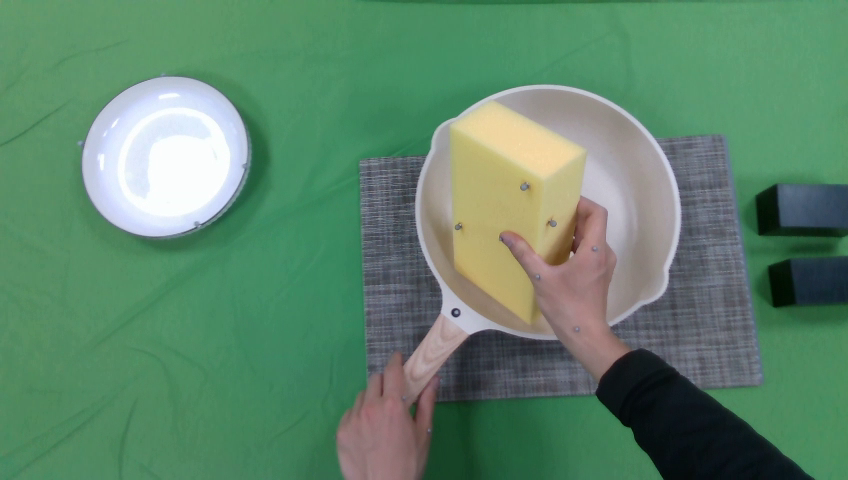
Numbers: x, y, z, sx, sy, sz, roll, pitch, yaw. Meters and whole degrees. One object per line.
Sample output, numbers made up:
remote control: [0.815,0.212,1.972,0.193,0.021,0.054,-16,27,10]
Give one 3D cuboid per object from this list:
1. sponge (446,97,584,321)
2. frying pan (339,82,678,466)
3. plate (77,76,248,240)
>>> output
sponge: [0.087,-0.026,0.624,0.061,0.209,0.117,-36,54,-27]
frying pan: [0.069,0.042,0.673,0.306,0.103,0.487,38,75,10]
plate: [-0.318,-0.099,0.751,0.207,0.039,0.206,0,79,2]
